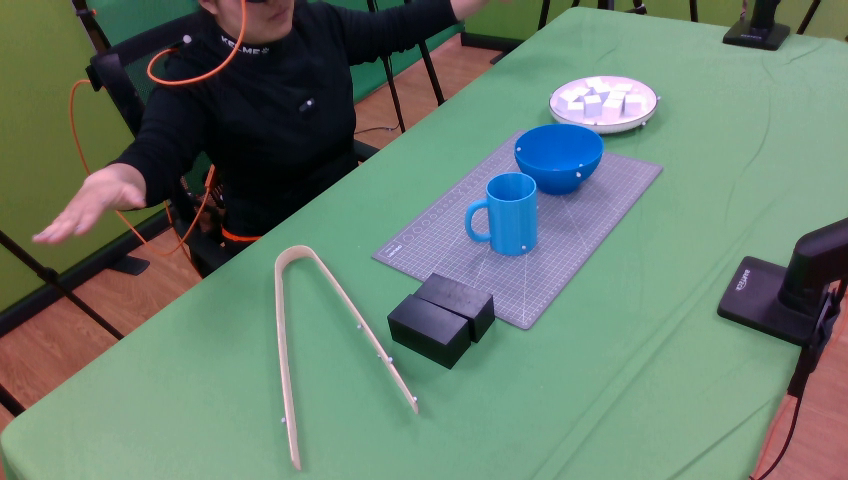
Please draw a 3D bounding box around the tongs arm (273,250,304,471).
[{"bbox_3d":[-0.188,0.145,0.844,0.028,0.028,0.384,-22,41,0],"label":"tongs arm"}]

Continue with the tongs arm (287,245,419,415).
[{"bbox_3d":[-0.114,0.113,0.859,0.051,0.027,0.381,-28,43,-12],"label":"tongs arm"}]

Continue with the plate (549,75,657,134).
[{"bbox_3d":[0.357,-0.269,1.220,0.209,0.038,0.208,-5,41,5],"label":"plate"}]

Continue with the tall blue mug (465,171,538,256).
[{"bbox_3d":[0.125,-0.033,0.925,0.107,0.108,0.077,-32,46,-25],"label":"tall blue mug"}]

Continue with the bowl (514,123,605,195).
[{"bbox_3d":[0.232,-0.131,1.045,0.151,0.077,0.150,-5,40,5],"label":"bowl"}]
